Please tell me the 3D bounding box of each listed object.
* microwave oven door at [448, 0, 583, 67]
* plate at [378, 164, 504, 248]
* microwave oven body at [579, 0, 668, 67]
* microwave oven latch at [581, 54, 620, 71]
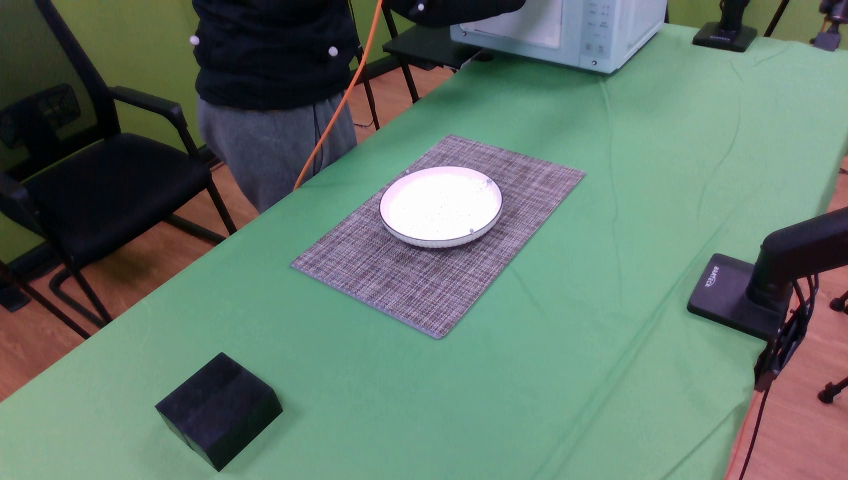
[{"bbox_3d":[0.204,-0.545,1.372,0.353,0.245,0.039,23,49,30],"label":"microwave oven door"},{"bbox_3d":[0.029,-0.054,1.009,0.209,0.038,0.208,-4,41,4],"label":"plate"},{"bbox_3d":[0.326,-0.609,1.438,0.438,0.261,0.327,23,50,30],"label":"microwave oven body"},{"bbox_3d":[0.387,-0.394,1.330,0.078,0.029,0.030,25,51,32],"label":"microwave oven latch"}]
